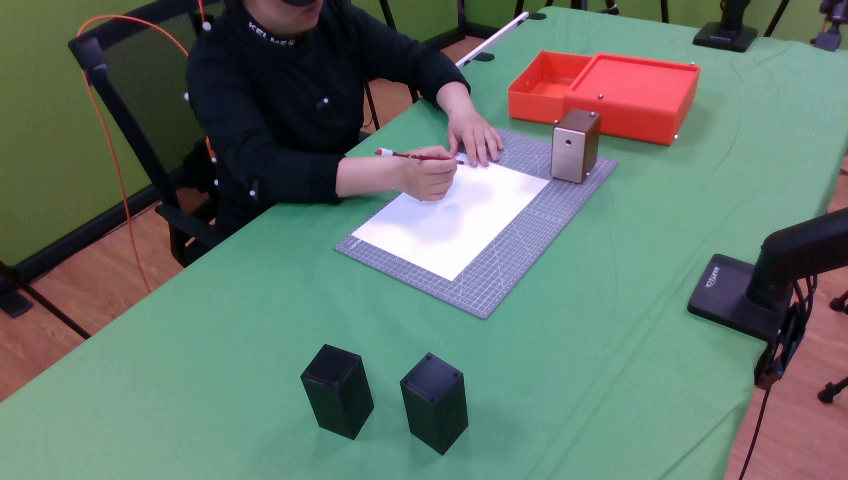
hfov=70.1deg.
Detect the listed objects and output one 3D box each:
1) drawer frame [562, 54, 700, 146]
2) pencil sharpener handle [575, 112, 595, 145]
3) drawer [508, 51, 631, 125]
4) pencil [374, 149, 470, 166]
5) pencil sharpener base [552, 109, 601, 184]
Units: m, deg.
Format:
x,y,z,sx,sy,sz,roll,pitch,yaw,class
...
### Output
x,y,z,sx,sy,sz,roll,pitch,yaw,class
0.407,-0.282,1.195,0.212,0.083,0.202,17,45,25,drawer frame
0.290,-0.203,1.077,0.036,0.068,0.031,19,47,26,pencil sharpener handle
0.305,-0.309,1.246,0.210,0.073,0.195,16,45,25,drawer
0.002,-0.132,0.983,0.196,0.012,0.012,2,30,-37,pencil
0.265,-0.163,1.053,0.061,0.107,0.077,17,46,27,pencil sharpener base
